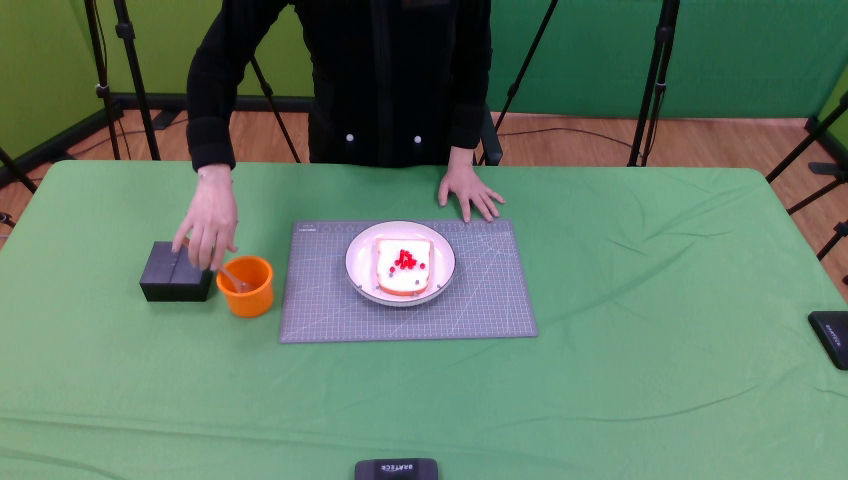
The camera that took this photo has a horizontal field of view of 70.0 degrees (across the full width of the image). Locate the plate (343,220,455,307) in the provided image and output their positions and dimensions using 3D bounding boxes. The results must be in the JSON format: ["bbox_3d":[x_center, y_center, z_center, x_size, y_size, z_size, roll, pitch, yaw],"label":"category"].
[{"bbox_3d":[-0.047,0.046,1.135,0.209,0.038,0.208,2,46,-2],"label":"plate"}]

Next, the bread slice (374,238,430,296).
[{"bbox_3d":[-0.039,0.048,1.135,0.107,0.018,0.133,-1,47,-4],"label":"bread slice"}]

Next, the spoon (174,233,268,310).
[{"bbox_3d":[-0.344,0.052,1.033,0.021,0.194,0.041,-19,32,42],"label":"spoon"}]
